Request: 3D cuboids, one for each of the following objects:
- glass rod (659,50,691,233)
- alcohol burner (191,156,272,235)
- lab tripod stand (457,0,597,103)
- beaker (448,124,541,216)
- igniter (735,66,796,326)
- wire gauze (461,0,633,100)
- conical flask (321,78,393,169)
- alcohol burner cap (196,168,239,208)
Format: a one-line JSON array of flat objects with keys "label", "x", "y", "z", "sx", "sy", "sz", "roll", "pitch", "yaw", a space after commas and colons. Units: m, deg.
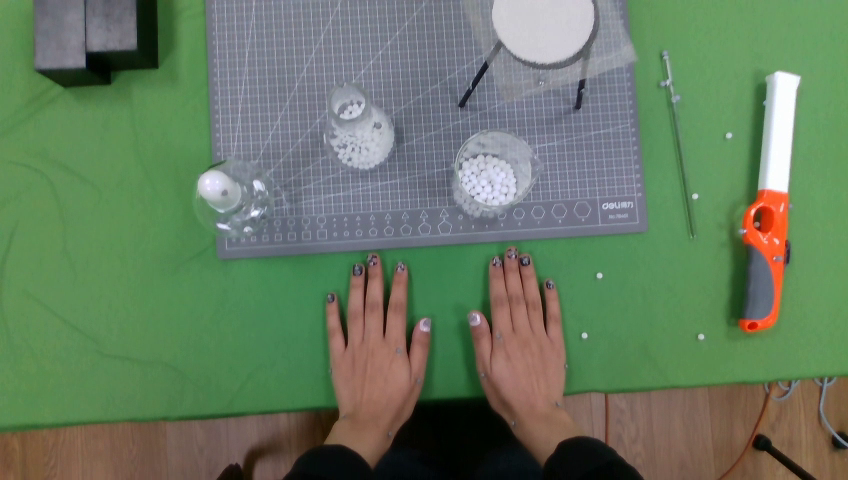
[{"label": "glass rod", "x": 0.267, "y": -0.106, "z": 0.647, "sx": 0.008, "sy": 0.008, "sz": 0.199, "roll": -6, "pitch": 86, "yaw": -2}, {"label": "alcohol burner", "x": -0.186, "y": -0.044, "z": 0.573, "sx": 0.078, "sy": 0.119, "sz": 0.078, "roll": 0, "pitch": 87, "yaw": -3}, {"label": "lab tripod stand", "x": 0.100, "y": -0.187, "z": 0.582, "sx": 0.148, "sy": 0.131, "sz": 0.148, "roll": 0, "pitch": 88, "yaw": -1}, {"label": "beaker", "x": 0.063, "y": -0.064, "z": 0.590, "sx": 0.084, "sy": 0.100, "sz": 0.074, "roll": -6, "pitch": 86, "yaw": -2}, {"label": "igniter", "x": 0.360, "y": -0.046, "z": 0.636, "sx": 0.057, "sy": 0.025, "sz": 0.276, "roll": 9, "pitch": 86, "yaw": -11}, {"label": "wire gauze", "x": 0.101, "y": -0.193, "z": 0.515, "sx": 0.125, "sy": 0.011, "sz": 0.121, "roll": -20, "pitch": 89, "yaw": -2}, {"label": "conical flask", "x": -0.068, "y": -0.116, "z": 0.577, "sx": 0.075, "sy": 0.122, "sz": 0.075, "roll": 0, "pitch": 86, "yaw": -1}, {"label": "alcohol burner cap", "x": -0.185, "y": -0.048, "z": 0.537, "sx": 0.034, "sy": 0.048, "sz": 0.034, "roll": 1, "pitch": 83, "yaw": -7}]
